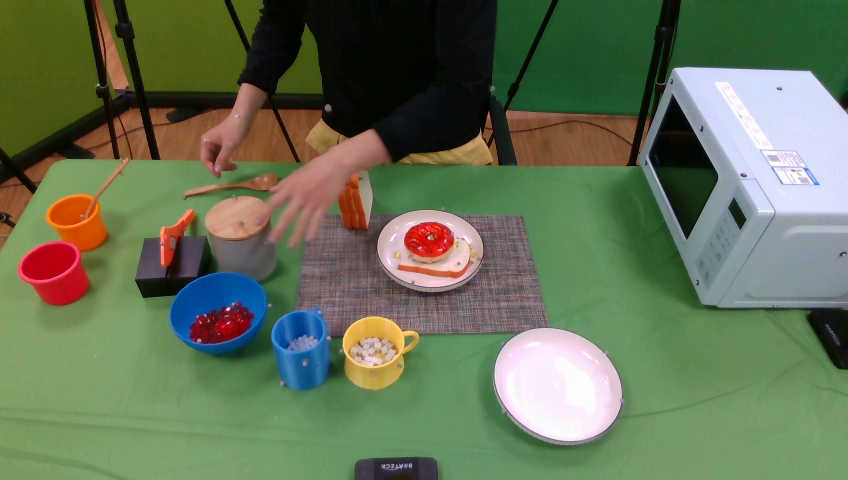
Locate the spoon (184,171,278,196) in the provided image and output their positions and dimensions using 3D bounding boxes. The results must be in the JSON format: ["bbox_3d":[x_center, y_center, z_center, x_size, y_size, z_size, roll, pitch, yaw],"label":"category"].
[{"bbox_3d":[-0.405,-0.117,1.274,0.194,0.022,0.041,-8,66,-12],"label":"spoon"}]

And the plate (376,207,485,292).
[{"bbox_3d":[0.012,0.021,1.159,0.209,0.038,0.208,2,47,-2],"label":"plate"}]

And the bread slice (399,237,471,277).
[{"bbox_3d":[0.025,0.025,1.161,0.131,0.019,0.104,7,47,8],"label":"bread slice"}]

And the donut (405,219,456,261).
[{"bbox_3d":[0.012,-0.001,1.140,0.099,0.048,0.098,0,44,0],"label":"donut"}]

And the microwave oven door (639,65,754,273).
[{"bbox_3d":[0.522,-0.147,1.192,0.039,0.245,0.353,0,47,-3],"label":"microwave oven door"}]

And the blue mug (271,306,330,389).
[{"bbox_3d":[-0.188,0.163,0.969,0.082,0.106,0.116,15,47,10],"label":"blue mug"}]

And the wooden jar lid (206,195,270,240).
[{"bbox_3d":[-0.319,-0.036,1.046,0.108,0.021,0.107,1,44,0],"label":"wooden jar lid"}]

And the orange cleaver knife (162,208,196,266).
[{"bbox_3d":[-0.454,-0.010,1.129,0.012,0.077,0.210,-1,17,-6],"label":"orange cleaver knife"}]

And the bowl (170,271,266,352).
[{"bbox_3d":[-0.333,0.132,1.006,0.151,0.077,0.150,2,46,-2],"label":"bowl"}]

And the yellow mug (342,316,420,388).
[{"bbox_3d":[-0.068,0.177,0.991,0.131,0.064,0.099,-15,50,-19],"label":"yellow mug"}]

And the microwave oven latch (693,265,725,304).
[{"bbox_3d":[0.522,0.081,1.115,0.030,0.029,0.078,2,46,-1],"label":"microwave oven latch"}]

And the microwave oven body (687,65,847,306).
[{"bbox_3d":[0.669,-0.111,1.176,0.326,0.261,0.439,0,46,-3],"label":"microwave oven body"}]

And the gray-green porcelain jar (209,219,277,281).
[{"bbox_3d":[-0.323,0.007,1.092,0.106,0.127,0.105,2,46,-2],"label":"gray-green porcelain jar"}]

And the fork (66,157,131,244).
[{"bbox_3d":[-0.608,-0.074,1.132,0.207,0.019,0.028,-52,49,10],"label":"fork"}]

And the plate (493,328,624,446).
[{"bbox_3d":[0.213,0.236,0.974,0.208,0.039,0.206,2,46,-2],"label":"plate"}]

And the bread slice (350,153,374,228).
[{"bbox_3d":[-0.124,-0.104,1.207,0.018,0.135,0.106,-1,48,7],"label":"bread slice"}]
